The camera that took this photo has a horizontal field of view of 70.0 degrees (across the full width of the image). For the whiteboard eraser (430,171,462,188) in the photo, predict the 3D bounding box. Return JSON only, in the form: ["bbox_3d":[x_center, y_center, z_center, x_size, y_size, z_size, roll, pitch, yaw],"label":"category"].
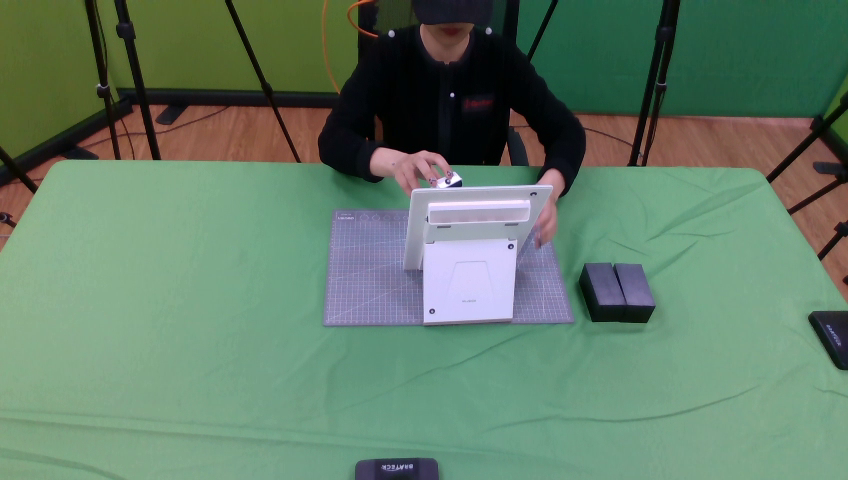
[{"bbox_3d":[0.027,-0.070,1.064,0.055,0.113,0.041,-32,77,-32],"label":"whiteboard eraser"}]

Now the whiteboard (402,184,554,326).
[{"bbox_3d":[0.081,0.044,1.005,0.217,0.306,0.143,-1,65,-6],"label":"whiteboard"}]
